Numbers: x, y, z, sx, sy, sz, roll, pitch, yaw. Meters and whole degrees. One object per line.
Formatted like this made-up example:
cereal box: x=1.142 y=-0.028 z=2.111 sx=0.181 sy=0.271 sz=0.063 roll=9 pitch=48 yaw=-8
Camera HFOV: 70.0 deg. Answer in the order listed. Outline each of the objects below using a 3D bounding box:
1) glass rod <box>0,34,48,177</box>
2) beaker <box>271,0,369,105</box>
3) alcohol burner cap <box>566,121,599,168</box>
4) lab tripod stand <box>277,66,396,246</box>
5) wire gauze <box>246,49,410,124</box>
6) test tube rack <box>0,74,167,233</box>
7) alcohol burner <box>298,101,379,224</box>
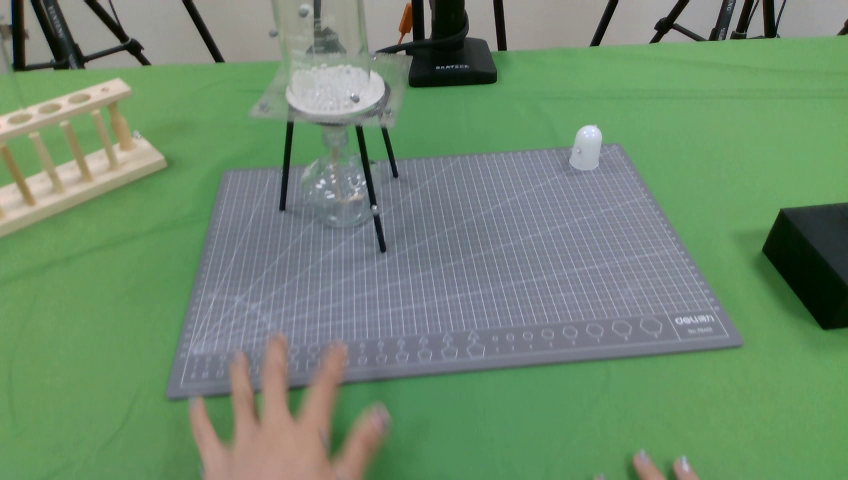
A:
glass rod: x=-0.397 y=-0.150 z=0.588 sx=0.008 sy=0.201 sz=0.008 roll=2 pitch=35 yaw=-1
beaker: x=-0.085 y=-0.169 z=0.492 sx=0.084 sy=0.101 sz=0.073 roll=8 pitch=44 yaw=10
alcohol burner cap: x=0.174 y=-0.107 z=0.660 sx=0.034 sy=0.048 sz=0.033 roll=0 pitch=42 yaw=1
lab tripod stand: x=-0.076 y=-0.082 z=0.567 sx=0.148 sy=0.133 sz=0.147 roll=-1 pitch=44 yaw=1
wire gauze: x=-0.080 y=-0.137 z=0.530 sx=0.125 sy=0.011 sz=0.120 roll=2 pitch=41 yaw=8
test tube rack: x=-0.398 y=-0.077 z=0.605 sx=0.242 sy=0.086 sz=0.066 roll=-32 pitch=51 yaw=-30
alcohol burner: x=-0.083 y=-0.075 z=0.575 sx=0.078 sy=0.120 sz=0.077 roll=-1 pitch=40 yaw=1
